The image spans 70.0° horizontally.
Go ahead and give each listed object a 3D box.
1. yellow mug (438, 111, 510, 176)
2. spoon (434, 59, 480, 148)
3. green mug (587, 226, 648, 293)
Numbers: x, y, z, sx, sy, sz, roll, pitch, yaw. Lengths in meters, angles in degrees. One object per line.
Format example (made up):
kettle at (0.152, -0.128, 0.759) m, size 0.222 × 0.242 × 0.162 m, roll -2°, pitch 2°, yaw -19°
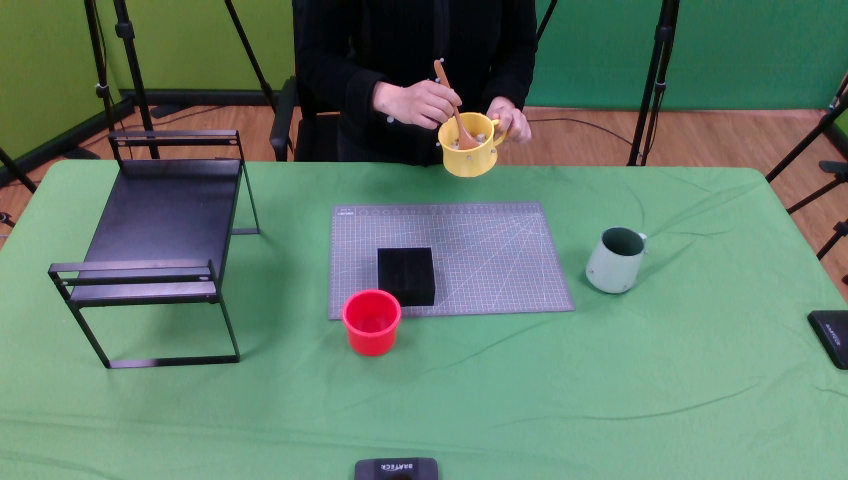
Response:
yellow mug at (0.093, -0.178, 1.077) m, size 0.131 × 0.064 × 0.099 m, roll -24°, pitch 52°, yaw -8°
spoon at (0.055, -0.214, 1.026) m, size 0.041 × 0.194 × 0.021 m, roll -15°, pitch 26°, yaw 19°
green mug at (0.372, 0.030, 1.136) m, size 0.125 × 0.105 × 0.092 m, roll -28°, pitch 53°, yaw -26°
